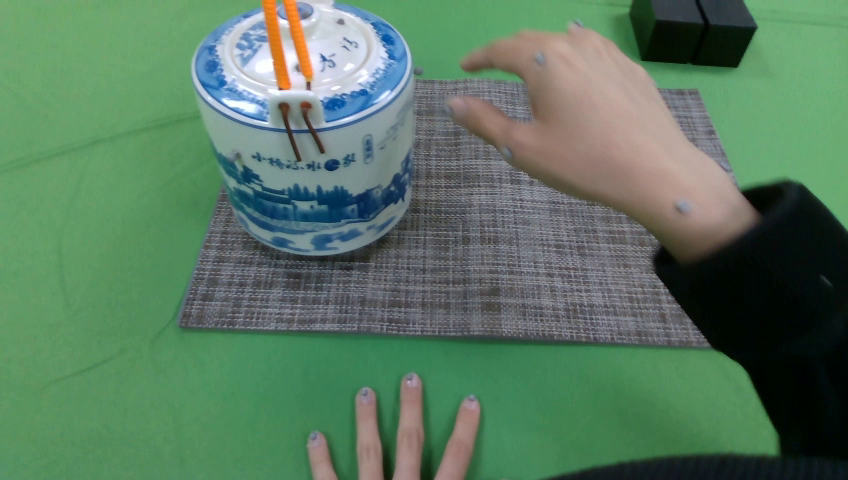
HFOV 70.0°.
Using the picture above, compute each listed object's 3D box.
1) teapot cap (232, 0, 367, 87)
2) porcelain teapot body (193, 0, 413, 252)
[{"bbox_3d":[-0.080,-0.129,0.388,0.085,0.044,0.084,1,50,-1],"label":"teapot cap"},{"bbox_3d":[-0.082,-0.127,0.437,0.145,0.227,0.203,-3,51,-5],"label":"porcelain teapot body"}]
